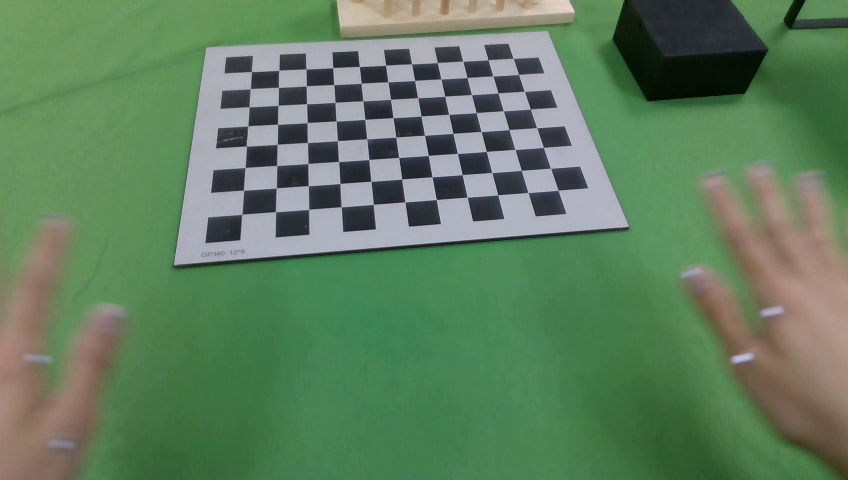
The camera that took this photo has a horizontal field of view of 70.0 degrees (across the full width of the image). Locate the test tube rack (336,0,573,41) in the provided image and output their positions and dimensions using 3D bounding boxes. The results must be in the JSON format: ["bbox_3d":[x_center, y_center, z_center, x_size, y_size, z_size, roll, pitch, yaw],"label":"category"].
[{"bbox_3d":[0.032,-0.265,0.611,0.243,0.086,0.066,-6,53,-7],"label":"test tube rack"}]
